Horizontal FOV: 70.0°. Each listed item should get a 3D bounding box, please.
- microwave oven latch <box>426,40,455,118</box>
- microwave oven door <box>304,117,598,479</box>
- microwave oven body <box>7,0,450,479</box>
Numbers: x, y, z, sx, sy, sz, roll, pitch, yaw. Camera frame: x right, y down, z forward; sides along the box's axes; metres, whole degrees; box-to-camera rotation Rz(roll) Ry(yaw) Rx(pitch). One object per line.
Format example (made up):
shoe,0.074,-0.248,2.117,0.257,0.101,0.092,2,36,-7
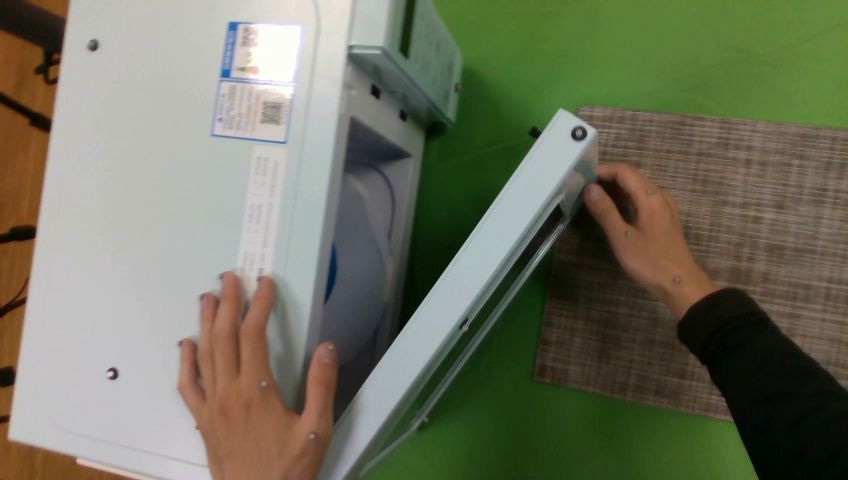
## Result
microwave oven latch,0.016,-0.176,0.663,0.030,0.029,0.079,8,91,15
microwave oven door,0.035,0.067,0.544,0.039,0.245,0.356,37,97,15
microwave oven body,-0.174,-0.022,0.609,0.325,0.261,0.441,7,90,15
